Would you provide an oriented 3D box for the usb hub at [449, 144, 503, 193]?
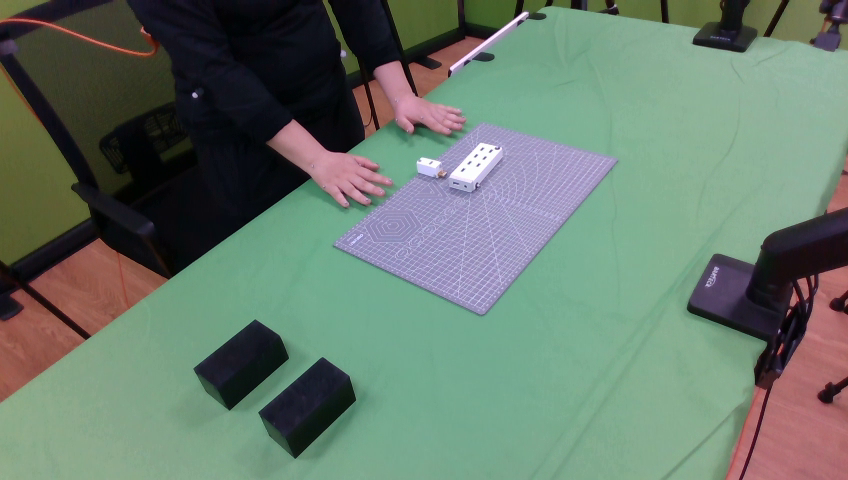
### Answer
[{"bbox_3d":[0.096,-0.132,1.105,0.049,0.025,0.125,18,47,27],"label":"usb hub"}]

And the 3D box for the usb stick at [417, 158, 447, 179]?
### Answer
[{"bbox_3d":[0.016,-0.130,1.114,0.059,0.027,0.021,22,44,26],"label":"usb stick"}]
